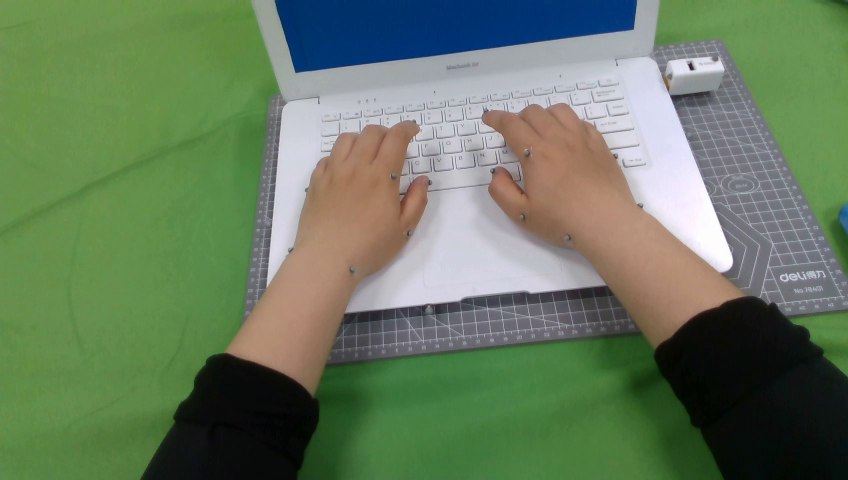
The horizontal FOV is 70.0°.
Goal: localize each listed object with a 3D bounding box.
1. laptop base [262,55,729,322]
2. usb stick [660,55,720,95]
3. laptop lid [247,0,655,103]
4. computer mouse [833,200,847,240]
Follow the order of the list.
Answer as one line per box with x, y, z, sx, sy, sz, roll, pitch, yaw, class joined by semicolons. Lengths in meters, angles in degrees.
0.044;-0.052;0.516;0.354;0.023;0.233;-7;59;3;laptop base
0.229;-0.146;0.541;0.059;0.027;0.021;-7;56;7;usb stick
0.022;-0.234;0.500;0.356;0.244;0.013;-8;43;4;laptop lid
0.348;0.008;0.427;0.063;0.041;0.116;-11;51;3;computer mouse
